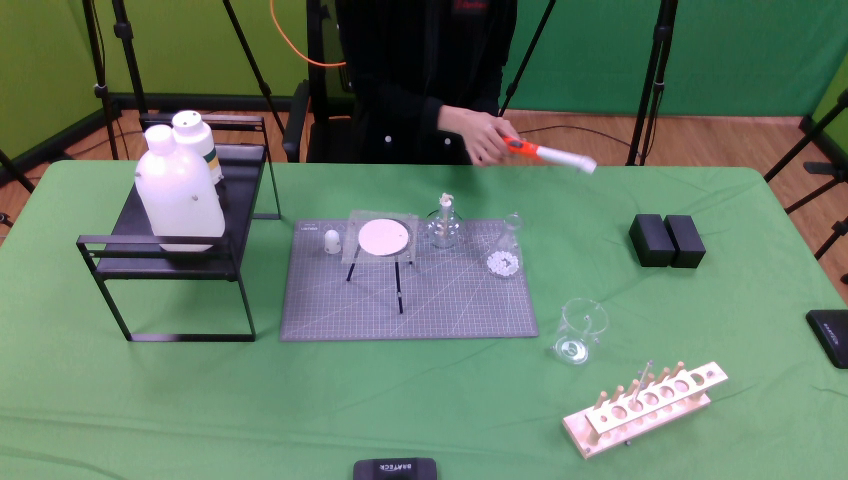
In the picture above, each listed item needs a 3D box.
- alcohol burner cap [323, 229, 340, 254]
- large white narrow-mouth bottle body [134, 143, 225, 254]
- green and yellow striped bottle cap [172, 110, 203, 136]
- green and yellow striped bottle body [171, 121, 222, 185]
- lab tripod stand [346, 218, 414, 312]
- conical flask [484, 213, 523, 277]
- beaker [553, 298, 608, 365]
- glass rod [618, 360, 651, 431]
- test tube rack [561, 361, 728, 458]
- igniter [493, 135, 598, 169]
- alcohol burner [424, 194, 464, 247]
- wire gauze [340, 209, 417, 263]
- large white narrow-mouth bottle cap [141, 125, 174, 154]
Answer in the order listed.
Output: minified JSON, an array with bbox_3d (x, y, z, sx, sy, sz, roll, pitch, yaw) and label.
[{"bbox_3d":[-0.179,0.001,1.165,0.034,0.048,0.033,3,45,-2],"label":"alcohol burner cap"},{"bbox_3d":[-0.358,-0.076,0.875,0.102,0.195,0.101,1,47,-1],"label":"large white narrow-mouth bottle body"},{"bbox_3d":[-0.374,-0.185,0.958,0.045,0.020,0.045,4,46,-4],"label":"green and yellow striped bottle cap"},{"bbox_3d":[-0.375,-0.149,0.995,0.063,0.120,0.063,2,46,-2],"label":"green and yellow striped bottle body"},{"bbox_3d":[-0.070,0.037,1.075,0.148,0.132,0.147,1,48,-1],"label":"lab tripod stand"},{"bbox_3d":[0.156,0.007,1.129,0.075,0.122,0.075,2,46,-2],"label":"conical flask"},{"bbox_3d":[0.260,0.154,1.015,0.073,0.101,0.084,37,54,27],"label":"beaker"},{"bbox_3d":[0.298,0.227,0.865,0.008,0.201,0.008,-1,48,2],"label":"glass rod"},{"bbox_3d":[0.341,0.248,0.940,0.243,0.085,0.066,-15,48,-18],"label":"test tube rack"},{"bbox_3d":[0.212,-0.166,1.120,0.275,0.057,0.025,28,89,57],"label":"igniter"},{"bbox_3d":[0.039,-0.043,1.175,0.078,0.120,0.077,1,48,-1],"label":"alcohol burner"},{"bbox_3d":[-0.074,-0.007,1.023,0.121,0.011,0.124,3,46,0],"label":"wire gauze"},{"bbox_3d":[-0.356,-0.134,0.810,0.038,0.024,0.037,1,47,-1],"label":"large white narrow-mouth bottle cap"}]
